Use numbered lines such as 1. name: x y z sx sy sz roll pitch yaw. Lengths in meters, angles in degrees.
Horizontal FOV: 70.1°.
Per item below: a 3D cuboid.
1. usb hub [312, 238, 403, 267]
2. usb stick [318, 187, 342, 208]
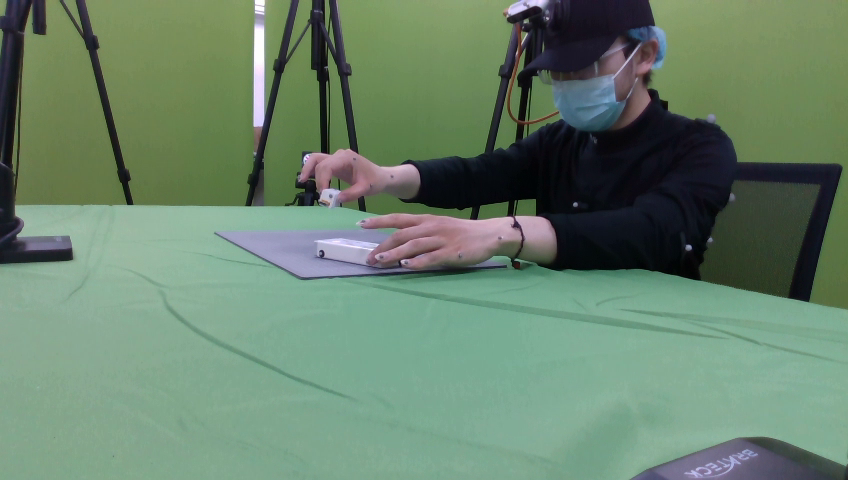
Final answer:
1. usb hub: -0.091 0.016 0.819 0.124 0.025 0.050 7 9 36
2. usb stick: -0.147 -0.066 0.934 0.021 0.027 0.059 21 15 6
